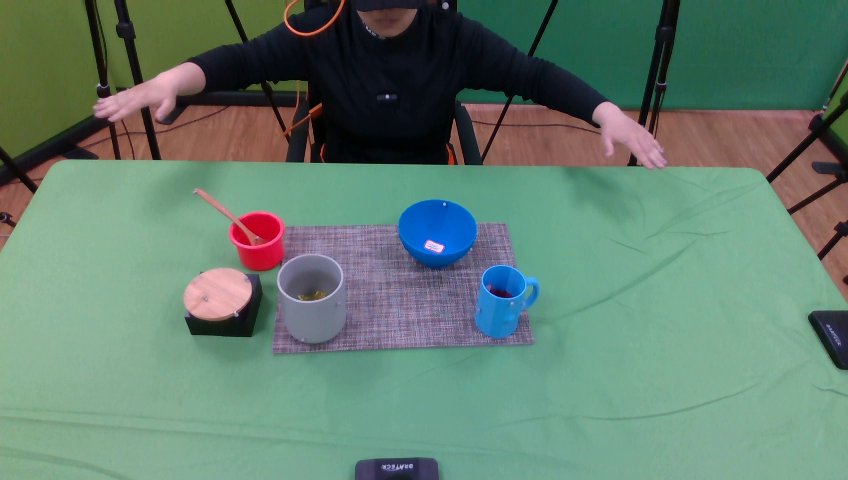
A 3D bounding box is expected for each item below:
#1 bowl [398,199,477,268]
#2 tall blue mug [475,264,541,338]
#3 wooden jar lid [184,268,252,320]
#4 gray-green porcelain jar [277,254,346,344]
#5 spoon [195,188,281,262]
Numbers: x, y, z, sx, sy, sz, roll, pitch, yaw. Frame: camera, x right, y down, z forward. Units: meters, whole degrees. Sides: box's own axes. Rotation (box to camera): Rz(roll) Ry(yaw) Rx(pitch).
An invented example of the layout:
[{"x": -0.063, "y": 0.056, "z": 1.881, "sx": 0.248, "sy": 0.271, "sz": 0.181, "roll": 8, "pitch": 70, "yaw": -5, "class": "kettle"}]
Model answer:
[{"x": 0.024, "y": 0.000, "z": 1.156, "sx": 0.151, "sy": 0.077, "sz": 0.150, "roll": 2, "pitch": 46, "yaw": -2, "class": "bowl"}, {"x": 0.141, "y": 0.098, "z": 1.047, "sx": 0.077, "sy": 0.108, "sz": 0.107, "roll": 33, "pitch": 53, "yaw": 27, "class": "tall blue mug"}, {"x": -0.343, "y": 0.092, "z": 1.015, "sx": 0.108, "sy": 0.021, "sz": 0.107, "roll": 3, "pitch": 46, "yaw": -3, "class": "wooden jar lid"}, {"x": -0.184, "y": 0.102, "z": 1.008, "sx": 0.106, "sy": 0.127, "sz": 0.105, "roll": 2, "pitch": 46, "yaw": -2, "class": "gray-green porcelain jar"}, {"x": -0.342, "y": -0.028, "z": 1.117, "sx": 0.194, "sy": 0.021, "sz": 0.041, "roll": 48, "pitch": 49, "yaw": -20, "class": "spoon"}]
